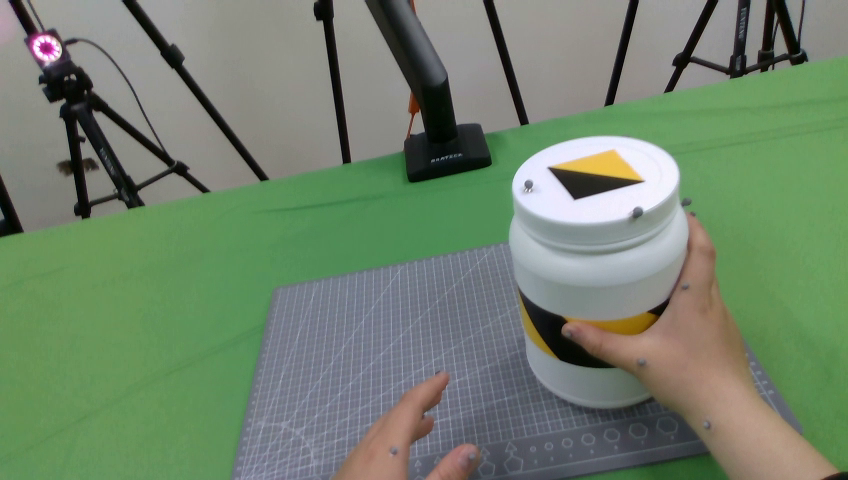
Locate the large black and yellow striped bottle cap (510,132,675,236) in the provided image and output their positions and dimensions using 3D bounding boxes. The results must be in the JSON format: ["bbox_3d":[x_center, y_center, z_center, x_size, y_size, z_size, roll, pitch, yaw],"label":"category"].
[{"bbox_3d":[0.119,-0.043,0.434,0.115,0.019,0.114,-8,36,7],"label":"large black and yellow striped bottle cap"}]

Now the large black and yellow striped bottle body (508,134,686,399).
[{"bbox_3d":[0.138,0.022,0.484,0.130,0.186,0.129,-9,37,8],"label":"large black and yellow striped bottle body"}]
